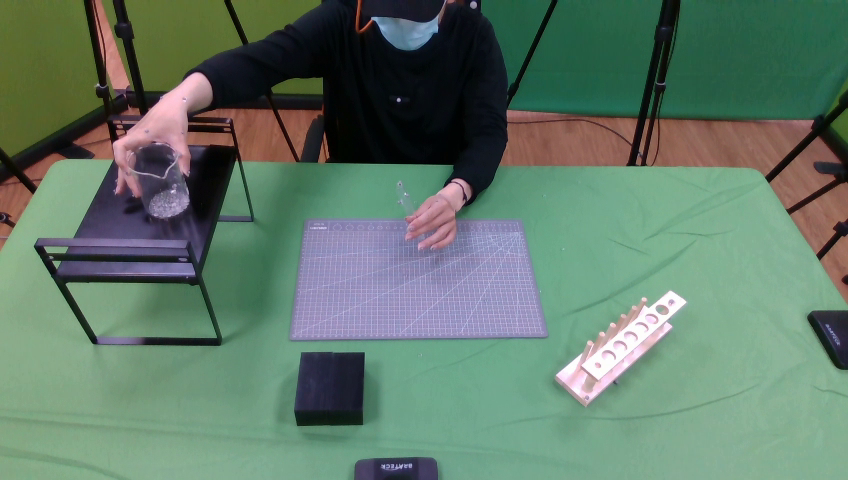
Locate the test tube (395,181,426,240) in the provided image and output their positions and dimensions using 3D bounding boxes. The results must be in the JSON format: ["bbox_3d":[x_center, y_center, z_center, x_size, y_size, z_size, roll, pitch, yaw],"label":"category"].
[{"bbox_3d":[-0.023,-0.050,1.095,0.017,0.151,0.017,-10,49,12],"label":"test tube"}]

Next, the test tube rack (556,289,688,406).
[{"bbox_3d":[0.332,0.166,1.014,0.242,0.085,0.066,-30,55,-28],"label":"test tube rack"}]

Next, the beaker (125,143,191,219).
[{"bbox_3d":[-0.409,-0.088,0.947,0.074,0.101,0.083,-27,54,-26],"label":"beaker"}]
